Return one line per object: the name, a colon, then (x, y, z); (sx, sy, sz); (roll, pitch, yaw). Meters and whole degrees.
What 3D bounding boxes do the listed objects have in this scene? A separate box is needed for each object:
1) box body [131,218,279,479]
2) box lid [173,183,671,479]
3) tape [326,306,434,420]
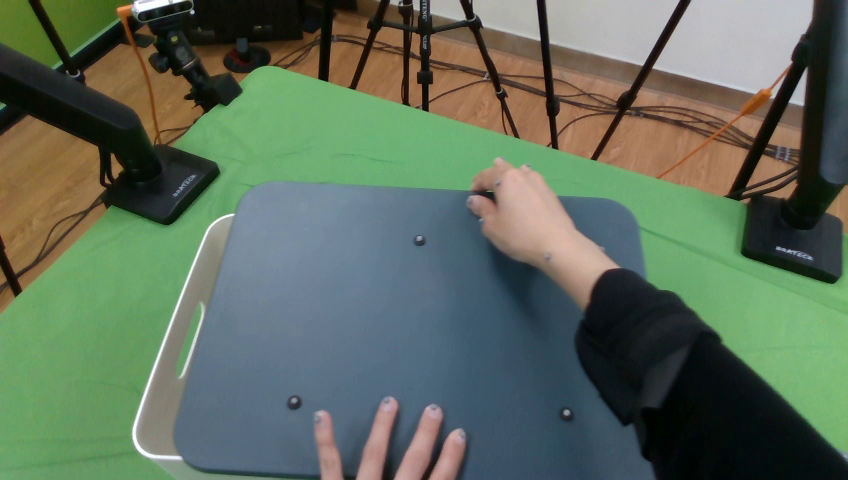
box body: (-0.045, 0.128, 0.601); (0.364, 0.162, 0.251); (2, 51, 2)
box lid: (0.006, 0.067, 0.501); (0.372, 0.015, 0.261); (3, 57, -1)
tape: (-0.047, 0.131, 0.661); (0.117, 0.053, 0.115); (1, 50, 0)
